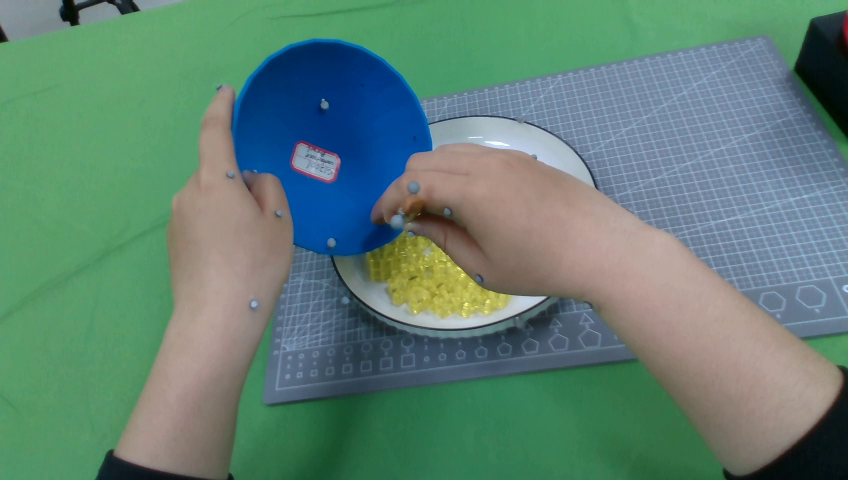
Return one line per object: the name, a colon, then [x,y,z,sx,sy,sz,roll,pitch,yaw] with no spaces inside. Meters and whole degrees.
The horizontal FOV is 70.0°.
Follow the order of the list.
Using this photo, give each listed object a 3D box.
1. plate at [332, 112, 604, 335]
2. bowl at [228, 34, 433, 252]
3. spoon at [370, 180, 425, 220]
plate: [0.032,-0.015,0.472,0.207,0.039,0.205,-6,54,9]
bowl: [-0.077,-0.066,0.449,0.151,0.152,0.076,-50,24,-22]
spoon: [-0.013,-0.022,0.360,0.041,0.193,0.022,-38,100,-3]
